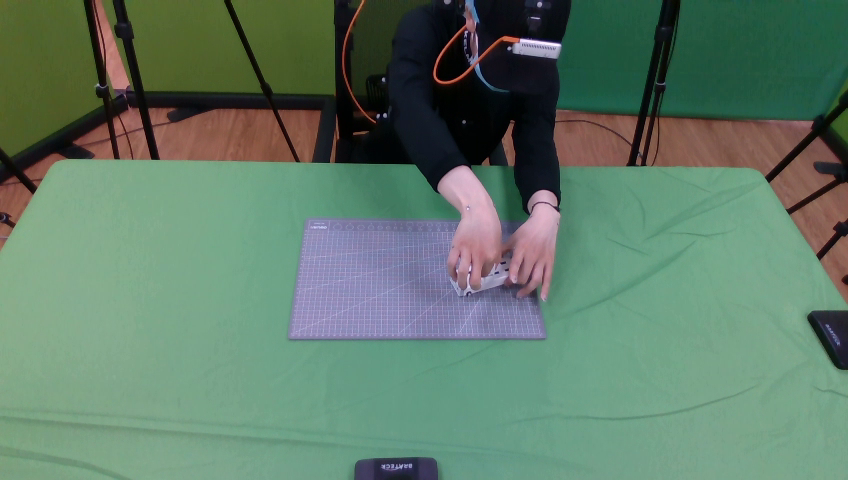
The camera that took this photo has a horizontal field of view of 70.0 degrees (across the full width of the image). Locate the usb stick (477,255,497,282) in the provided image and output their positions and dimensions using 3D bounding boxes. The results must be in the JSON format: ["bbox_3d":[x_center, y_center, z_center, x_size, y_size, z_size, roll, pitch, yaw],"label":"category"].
[{"bbox_3d":[0.113,0.056,1.099,0.021,0.059,0.027,-15,53,-25],"label":"usb stick"}]

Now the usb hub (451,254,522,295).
[{"bbox_3d":[0.116,0.065,1.133,0.125,0.025,0.049,-15,49,-16],"label":"usb hub"}]
